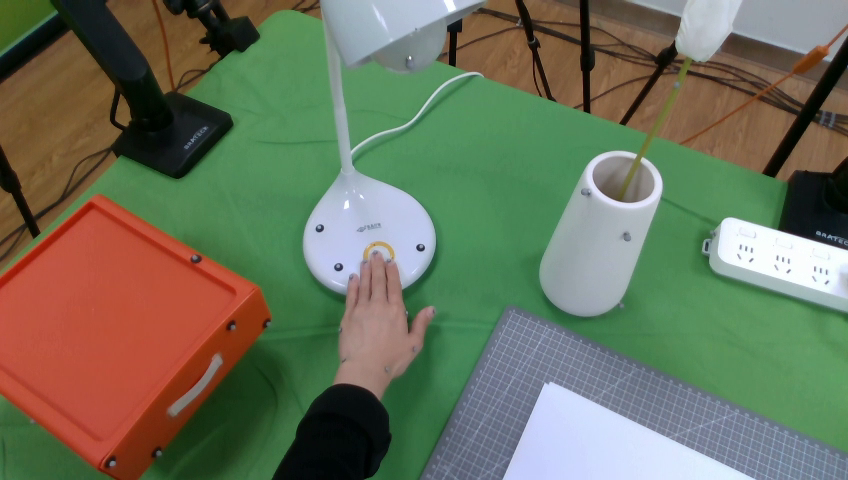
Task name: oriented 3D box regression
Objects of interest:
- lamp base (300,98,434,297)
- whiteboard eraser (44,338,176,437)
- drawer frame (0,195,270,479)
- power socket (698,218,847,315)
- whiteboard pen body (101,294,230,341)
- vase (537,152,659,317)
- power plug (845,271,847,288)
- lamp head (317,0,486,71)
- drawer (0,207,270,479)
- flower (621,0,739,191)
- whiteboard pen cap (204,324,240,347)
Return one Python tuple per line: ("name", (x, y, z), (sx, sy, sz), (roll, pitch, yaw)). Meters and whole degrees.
("lamp base", (-0.074, -0.053, 0.672), (0.161, 0.182, 0.177), (-24, 57, -16))
("whiteboard eraser", (-0.292, 0.138, 0.568), (0.112, 0.042, 0.055), (19, 51, 20))
("drawer frame", (-0.299, 0.087, 0.584), (0.212, 0.083, 0.201), (28, 60, 14))
("power socket", (0.441, 0.035, 0.709), (0.226, 0.033, 0.072), (18, 59, 11))
("whiteboard pen body", (-0.261, 0.080, 0.612), (0.140, 0.017, 0.017), (16, 57, 7))
("vase", (0.177, -0.001, 0.629), (0.098, 0.202, 0.097), (0, 55, 1))
("power plug", (0.479, 0.059, 0.665), (0.035, 0.053, 0.072), (27, 62, 17))
("lamp head", (-0.032, -0.192, 0.416), (0.112, 0.112, 0.123), (-31, 100, -20))
("drawer", (-0.293, 0.087, 0.581), (0.210, 0.074, 0.194), (27, 61, 16))
("flower", (0.191, -0.057, 0.568), (0.038, 0.364, 0.043), (14, 39, 1))
("whiteboard pen cap", (-0.202, 0.095, 0.603), (0.033, 0.018, 0.018), (14, 57, 16))
